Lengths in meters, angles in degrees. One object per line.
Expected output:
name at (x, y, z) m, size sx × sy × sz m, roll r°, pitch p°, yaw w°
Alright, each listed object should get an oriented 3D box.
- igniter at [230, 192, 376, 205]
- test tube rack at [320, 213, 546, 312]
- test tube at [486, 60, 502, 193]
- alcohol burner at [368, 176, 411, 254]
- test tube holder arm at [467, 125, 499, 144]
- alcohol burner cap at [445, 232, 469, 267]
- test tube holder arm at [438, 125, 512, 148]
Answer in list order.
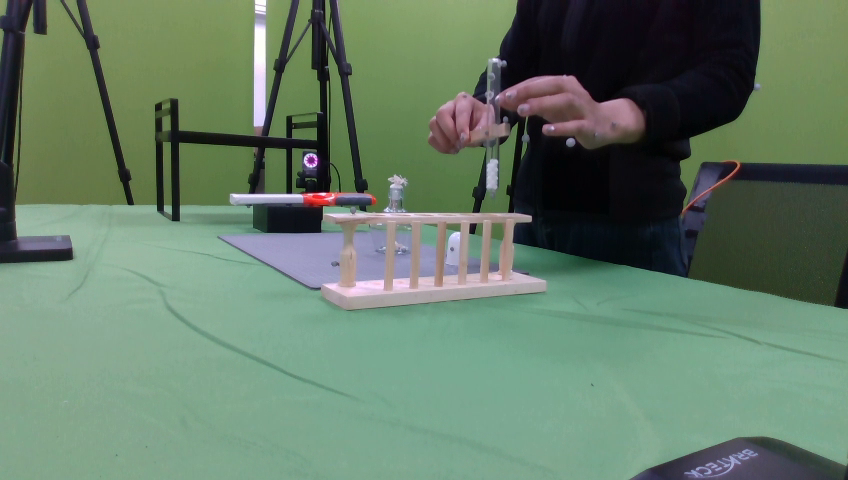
igniter at (-0.226, -0.079, 1.161) m, size 0.278 × 0.025 × 0.057 m, roll -2°, pitch 15°, yaw -28°
test tube rack at (0.018, 0.017, 0.638) m, size 0.244 × 0.085 × 0.066 m, roll -2°, pitch 9°, yaw -31°
test tube at (0.080, -0.129, 0.693) m, size 0.017 × 0.150 × 0.017 m, roll 0°, pitch 7°, yaw 0°
alcohol burner at (-0.045, -0.038, 0.912) m, size 0.078 × 0.119 × 0.078 m, roll 4°, pitch 8°, yaw 0°
test tube holder arm at (0.068, -0.124, 0.713) m, size 0.010 × 0.015 × 0.087 m, roll -5°, pitch 6°, yaw -13°
alcohol burner cap at (0.045, 0.013, 0.829) m, size 0.034 × 0.048 × 0.034 m, roll 1°, pitch 8°, yaw 0°
test tube holder arm at (0.059, -0.127, 0.757) m, size 0.013 × 0.015 × 0.177 m, roll -6°, pitch 6°, yaw -22°
